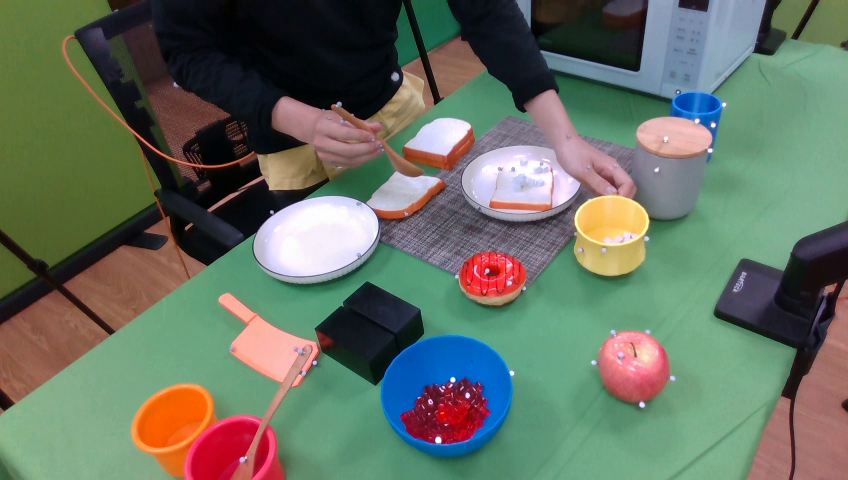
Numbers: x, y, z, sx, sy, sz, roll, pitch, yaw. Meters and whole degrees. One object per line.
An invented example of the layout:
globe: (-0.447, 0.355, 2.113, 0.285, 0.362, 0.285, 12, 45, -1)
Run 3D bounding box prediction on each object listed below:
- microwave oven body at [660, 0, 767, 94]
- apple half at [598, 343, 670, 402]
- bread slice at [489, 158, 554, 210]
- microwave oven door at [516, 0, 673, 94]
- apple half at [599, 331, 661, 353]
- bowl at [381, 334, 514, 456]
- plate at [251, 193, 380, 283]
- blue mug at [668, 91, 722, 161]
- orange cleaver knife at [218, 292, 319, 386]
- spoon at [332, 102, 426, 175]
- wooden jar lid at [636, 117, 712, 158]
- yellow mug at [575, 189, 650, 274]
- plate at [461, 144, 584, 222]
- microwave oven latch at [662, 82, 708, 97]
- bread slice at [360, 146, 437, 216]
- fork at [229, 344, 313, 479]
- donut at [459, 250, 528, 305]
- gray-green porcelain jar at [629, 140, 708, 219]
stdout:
microwave oven body: (0.474, -0.517, 1.313, 0.438, 0.261, 0.327, 26, 51, 34)
apple half: (0.247, 0.161, 0.710, 0.081, 0.075, 0.053, 2, 47, 5)
bread slice: (0.172, -0.100, 1.046, 0.104, 0.019, 0.131, 5, 42, 12)
microwave oven door: (0.344, -0.459, 1.257, 0.353, 0.245, 0.039, 26, 52, 33)
apple half: (0.249, 0.134, 0.738, 0.081, 0.081, 0.032, -1, 46, 7)
bowl: (0.029, 0.192, 0.701, 0.151, 0.077, 0.150, -4, 40, 4)
plate: (-0.174, 0.000, 0.985, 0.209, 0.038, 0.208, -4, 41, 3)
blue mug: (0.475, -0.207, 1.078, 0.082, 0.106, 0.116, 4, 42, 13)
orange cleaver knife: (-0.235, 0.136, 0.850, 0.209, 0.012, 0.077, 25, 56, 30)
spoon: (-0.063, -0.141, 0.860, 0.041, 0.195, 0.021, -2, 62, 40)
wooden jar lid: (0.377, -0.151, 0.917, 0.108, 0.021, 0.108, -2, 42, 3)
yellow mug: (0.272, -0.022, 0.877, 0.099, 0.064, 0.130, 3, 48, 16)
plate: (0.168, -0.095, 1.040, 0.207, 0.039, 0.206, -4, 40, 4)
microwave oven latch: (0.518, -0.298, 1.203, 0.078, 0.029, 0.030, 28, 53, 35)
bread slice: (-0.053, -0.103, 1.046, 0.106, 0.018, 0.134, 19, 67, 22)
fork: (-0.173, 0.205, 0.662, 0.028, 0.019, 0.207, 29, 94, 36)
donut: (0.100, 0.053, 0.872, 0.099, 0.048, 0.098, -5, 40, 4)
gray-green porcelain jar: (0.383, -0.105, 0.958, 0.106, 0.127, 0.105, -4, 41, 4)
